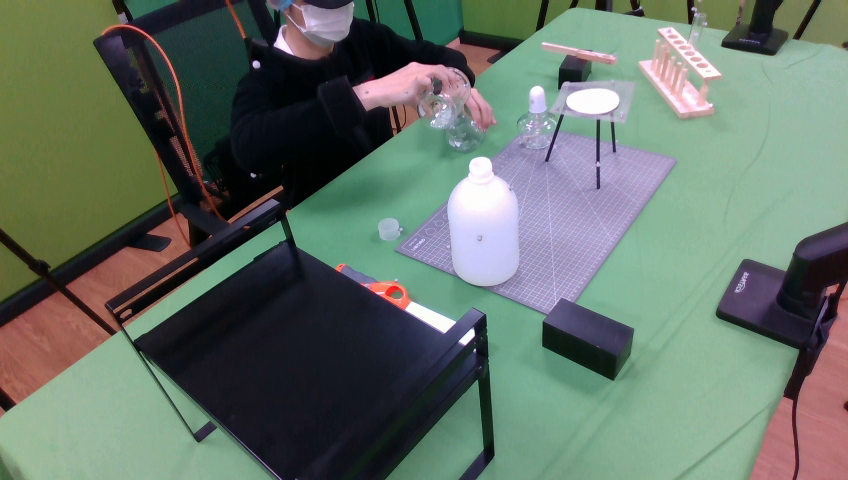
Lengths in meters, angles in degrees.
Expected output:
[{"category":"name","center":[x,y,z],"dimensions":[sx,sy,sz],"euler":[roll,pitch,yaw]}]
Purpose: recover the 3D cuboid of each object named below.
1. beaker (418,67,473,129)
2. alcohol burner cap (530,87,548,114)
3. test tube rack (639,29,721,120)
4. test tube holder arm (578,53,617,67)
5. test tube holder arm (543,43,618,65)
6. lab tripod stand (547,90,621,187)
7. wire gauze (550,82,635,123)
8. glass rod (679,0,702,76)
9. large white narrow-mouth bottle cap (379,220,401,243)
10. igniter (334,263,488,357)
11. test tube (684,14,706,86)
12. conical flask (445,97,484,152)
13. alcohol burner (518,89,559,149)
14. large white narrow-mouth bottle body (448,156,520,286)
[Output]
[{"category":"beaker","center":[0.036,-0.239,1.038],"dimensions":[0.073,0.084,0.100],"euler":[3,37,20]},{"category":"alcohol burner cap","center":[0.212,-0.262,1.126],"dimensions":[0.034,0.048,0.033],"euler":[-9,36,7]},{"category":"test tube rack","center":[0.527,-0.351,1.262],"dimensions":[0.067,0.085,0.241],"euler":[-8,40,1]},{"category":"test tube holder arm","center":[0.376,-0.393,1.314],"dimensions":[0.087,0.015,0.010],"euler":[26,51,32]},{"category":"test tube holder arm","center":[0.345,-0.413,1.341],"dimensions":[0.177,0.015,0.013],"euler":[25,50,31]},{"category":"lab tripod stand","center":[0.289,-0.184,1.062],"dimensions":[0.148,0.132,0.147],"euler":[-6,41,6]},{"category":"wire gauze","center":[0.285,-0.236,1.020],"dimensions":[0.124,0.011,0.121],"euler":[10,44,22]},{"category":"glass rod","center":[0.543,-0.417,1.233],"dimensions":[0.008,0.200,0.008],"euler":[1,39,0]},{"category":"large white narrow-mouth bottle cap","center":[-0.057,-0.015,1.011],"dimensions":[0.038,0.024,0.037],"euler":[-4,40,4]},{"category":"igniter","center":[-0.030,0.095,0.872],"dimensions":[0.274,0.025,0.057],"euler":[23,60,31]},{"category":"test tube","center":[0.540,-0.378,1.215],"dimensions":[0.017,0.151,0.017],"euler":[-2,44,3]},{"category":"conical flask","center":[0.070,-0.225,1.149],"dimensions":[0.075,0.122,0.075],"euler":[-4,71,14]},{"category":"alcohol burner","center":[0.218,-0.235,1.149],"dimensions":[0.078,0.119,0.077],"euler":[-5,43,5]},{"category":"large white narrow-mouth bottle body","center":[0.086,-0.032,0.869],"dimensions":[0.102,0.195,0.101],"euler":[-4,40,4]}]
